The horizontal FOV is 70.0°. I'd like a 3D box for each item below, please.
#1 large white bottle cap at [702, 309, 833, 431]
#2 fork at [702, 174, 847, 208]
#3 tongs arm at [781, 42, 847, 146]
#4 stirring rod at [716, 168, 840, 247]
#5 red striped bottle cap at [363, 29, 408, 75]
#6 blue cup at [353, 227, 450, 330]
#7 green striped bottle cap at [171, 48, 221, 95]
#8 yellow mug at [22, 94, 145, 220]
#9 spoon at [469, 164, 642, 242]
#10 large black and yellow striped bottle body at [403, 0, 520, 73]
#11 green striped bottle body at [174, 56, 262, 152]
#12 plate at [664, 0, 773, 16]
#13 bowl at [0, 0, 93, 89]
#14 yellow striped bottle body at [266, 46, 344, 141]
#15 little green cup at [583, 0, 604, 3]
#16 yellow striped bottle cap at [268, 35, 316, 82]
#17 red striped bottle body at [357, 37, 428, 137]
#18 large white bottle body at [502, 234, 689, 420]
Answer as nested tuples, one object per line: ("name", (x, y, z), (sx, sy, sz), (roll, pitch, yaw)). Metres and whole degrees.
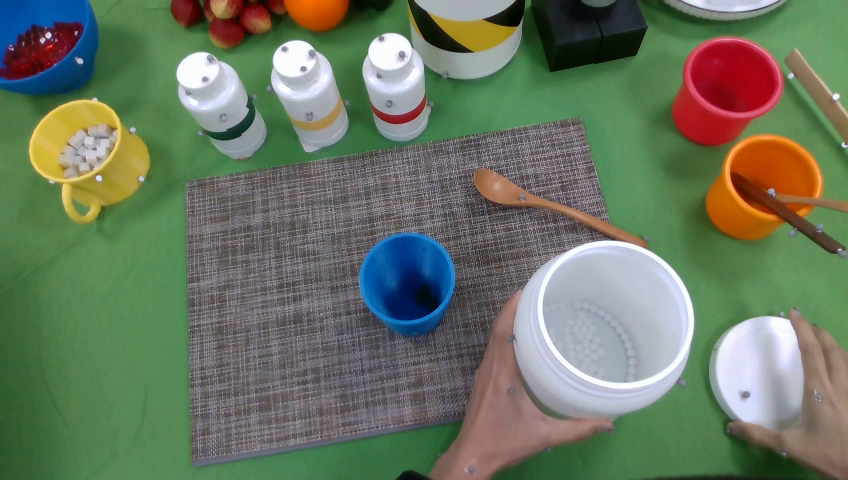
("large white bottle cap", (0.326, 0.122, 0.577), (0.115, 0.018, 0.114), (-1, 71, 3))
("fork", (0.354, -0.038, 0.560), (0.028, 0.205, 0.019), (-30, 116, -21))
("tongs arm", (0.497, -0.057, 0.619), (0.051, 0.027, 0.382), (-21, 72, -7))
("stirring rod", (0.325, -0.035, 0.569), (0.014, 0.006, 0.174), (-7, 27, -2))
("red striped bottle cap", (-0.037, -0.184, 0.592), (0.044, 0.018, 0.044), (0, 69, 0))
("blue cup", (-0.018, 0.045, 0.572), (0.092, 0.101, 0.092), (0, 70, 1))
("green striped bottle cap", (-0.224, -0.166, 0.595), (0.044, 0.020, 0.044), (-1, 69, 2))
("yellow mug", (-0.371, -0.085, 0.658), (0.100, 0.064, 0.130), (0, 71, 2))
("spoon", (0.137, -0.036, 0.635), (0.193, 0.022, 0.041), (21, 48, 9))
("large black and yellow striped bottle body", (0.039, -0.281, 0.644), (0.131, 0.185, 0.130), (-1, 70, 3))
("green striped bottle body", (-0.220, -0.148, 0.645), (0.063, 0.120, 0.063), (-1, 70, 3))
("plate", (0.346, -0.352, 0.730), (0.209, 0.038, 0.207), (-1, 71, 3))
("bowl", (-0.450, -0.231, 0.707), (0.151, 0.077, 0.150), (-1, 71, 2))
("yellow striped bottle body", (-0.127, -0.161, 0.644), (0.063, 0.121, 0.062), (-1, 70, 4))
("little green cup", (0.188, -0.294, 0.664), (0.061, 0.039, 0.061), (-1, 69, 2))
("yellow striped bottle cap", (-0.130, -0.178, 0.595), (0.044, 0.019, 0.044), (0, 72, 2))
("red striped bottle body", (-0.033, -0.166, 0.641), (0.063, 0.120, 0.062), (-2, 69, 7))
("large white bottle body", (0.136, 0.078, 0.507), (0.130, 0.186, 0.129), (-1, 69, 3))
